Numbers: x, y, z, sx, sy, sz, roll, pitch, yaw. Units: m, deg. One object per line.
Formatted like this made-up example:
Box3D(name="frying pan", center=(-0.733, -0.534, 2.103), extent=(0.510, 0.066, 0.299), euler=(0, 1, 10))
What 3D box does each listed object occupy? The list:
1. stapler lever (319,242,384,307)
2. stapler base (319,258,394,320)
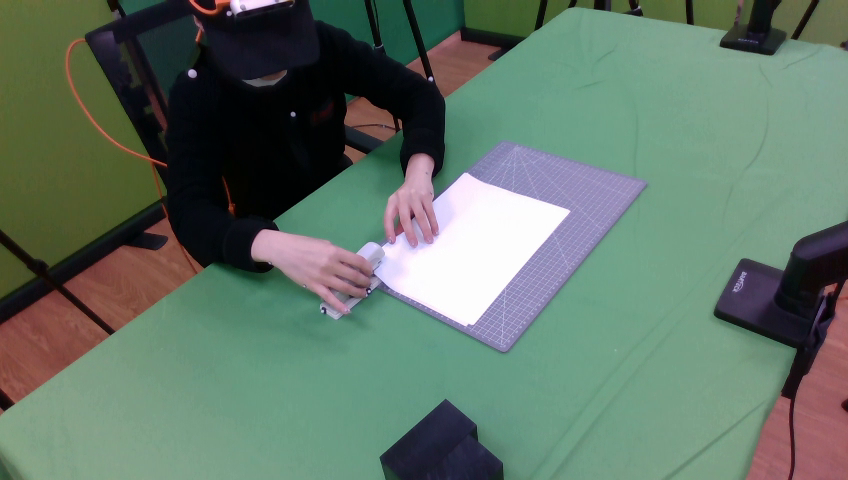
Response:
Box3D(name="stapler lever", center=(-0.106, 0.048, 0.890), extent=(0.026, 0.040, 0.118), euler=(25, 54, 36))
Box3D(name="stapler base", center=(-0.101, 0.065, 0.909), extent=(0.041, 0.024, 0.131), euler=(25, 53, 36))
